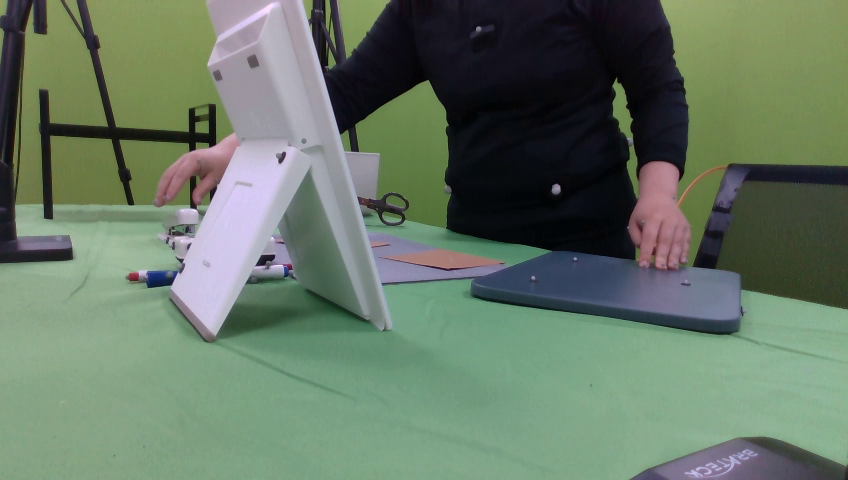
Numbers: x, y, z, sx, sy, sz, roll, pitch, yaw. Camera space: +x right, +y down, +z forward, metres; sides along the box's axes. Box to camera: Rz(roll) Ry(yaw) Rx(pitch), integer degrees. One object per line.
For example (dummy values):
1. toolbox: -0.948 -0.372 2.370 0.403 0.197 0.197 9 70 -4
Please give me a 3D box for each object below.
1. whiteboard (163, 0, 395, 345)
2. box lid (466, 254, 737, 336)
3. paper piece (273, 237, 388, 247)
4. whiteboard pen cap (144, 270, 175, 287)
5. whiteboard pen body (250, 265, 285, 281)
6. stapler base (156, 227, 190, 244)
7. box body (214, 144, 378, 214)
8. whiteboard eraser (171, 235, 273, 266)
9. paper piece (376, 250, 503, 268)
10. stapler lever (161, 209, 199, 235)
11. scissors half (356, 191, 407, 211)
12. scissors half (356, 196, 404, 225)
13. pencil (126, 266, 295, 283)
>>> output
1. whiteboard: -0.173 -0.053 0.510 0.144 0.305 0.216 -23 19 -26
2. box lid: 0.233 0.054 0.734 0.262 0.015 0.373 7 7 27
3. paper piece: -0.151 0.004 0.978 0.135 0.008 0.139 12 10 35
4. whiteboard pen cap: -0.272 0.039 0.627 0.033 0.018 0.018 -2 9 -32
5. whiteboard pen body: -0.221 0.039 0.655 0.141 0.017 0.017 -2 9 -30
6. stapler base: -0.377 -0.008 0.934 0.041 0.024 0.130 0 5 -38
7. box body: -0.329 -0.154 1.543 0.366 0.160 0.253 -2 9 -32
8. whiteboard eraser: -0.249 0.014 0.746 0.113 0.042 0.055 -1 9 -32
9. paper piece: 0.025 0.026 0.865 0.134 0.004 0.136 9 8 43
10. stapler lever: -0.377 -0.031 0.932 0.027 0.040 0.117 0 7 -38
11. scissors half: -0.123 -0.091 1.316 0.175 0.040 0.013 6 14 -4
12. scissors half: -0.128 -0.072 1.320 0.175 0.040 0.013 22 7 -7
13. pencil: -0.231 0.037 0.690 0.195 0.012 0.012 -2 9 -34
